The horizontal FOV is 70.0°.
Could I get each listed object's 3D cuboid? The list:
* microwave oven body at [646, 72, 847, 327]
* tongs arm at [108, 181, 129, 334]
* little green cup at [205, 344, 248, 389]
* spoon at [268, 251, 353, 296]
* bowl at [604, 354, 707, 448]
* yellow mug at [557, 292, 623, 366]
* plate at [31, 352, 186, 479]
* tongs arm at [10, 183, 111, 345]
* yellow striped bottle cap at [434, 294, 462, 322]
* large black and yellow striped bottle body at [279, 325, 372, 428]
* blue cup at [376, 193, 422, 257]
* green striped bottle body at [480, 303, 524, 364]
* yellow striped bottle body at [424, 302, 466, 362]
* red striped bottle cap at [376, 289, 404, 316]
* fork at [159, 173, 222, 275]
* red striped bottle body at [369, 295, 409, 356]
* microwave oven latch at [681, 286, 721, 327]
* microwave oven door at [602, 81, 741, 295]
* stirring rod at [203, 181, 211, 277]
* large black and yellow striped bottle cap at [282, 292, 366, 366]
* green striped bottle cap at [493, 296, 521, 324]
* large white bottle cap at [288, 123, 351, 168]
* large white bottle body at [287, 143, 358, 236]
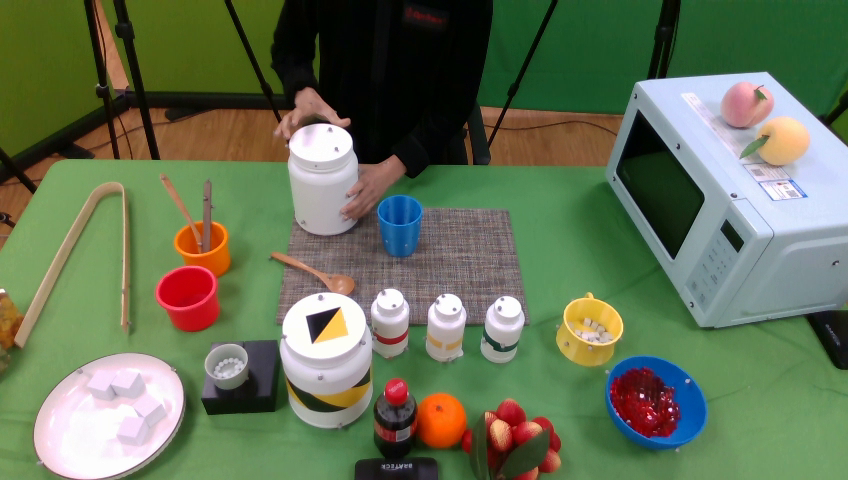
[{"bbox_3d":[0.607,-0.089,1.164,0.326,0.261,0.438,-7,46,-10],"label":"microwave oven body"},{"bbox_3d":[-0.571,0.019,1.123,0.051,0.026,0.382,-10,47,-12],"label":"tongs arm"},{"bbox_3d":[-0.293,0.191,0.909,0.061,0.039,0.061,1,47,-1],"label":"little green cup"},{"bbox_3d":[-0.212,0.057,1.121,0.193,0.022,0.041,24,74,18],"label":"spoon"},{"bbox_3d":[0.346,0.261,0.937,0.151,0.077,0.150,2,46,-2],"label":"bowl"},{"bbox_3d":[0.285,0.145,1.051,0.100,0.064,0.130,7,46,4],"label":"yellow mug"},{"bbox_3d":[-0.459,0.262,0.898,0.209,0.038,0.208,2,46,-2],"label":"plate"},{"bbox_3d":[-0.658,0.027,1.109,0.028,0.028,0.385,-2,45,1],"label":"tongs arm"},{"bbox_3d":[0.038,0.107,0.958,0.044,0.019,0.044,2,45,-2],"label":"yellow striped bottle cap"},{"bbox_3d":[-0.143,0.181,0.900,0.131,0.185,0.130,2,46,-2],"label":"large black and yellow striped bottle body"},{"bbox_3d":[-0.047,-0.022,1.155,0.093,0.101,0.092,1,47,-1],"label":"blue cup"},{"bbox_3d":[0.129,0.147,1.000,0.063,0.120,0.063,2,46,-2],"label":"green striped bottle body"},{"bbox_3d":[0.035,0.143,0.995,0.063,0.121,0.062,3,46,-3],"label":"yellow striped bottle body"},{"bbox_3d":[-0.054,0.098,0.958,0.044,0.018,0.044,0,48,1],"label":"red striped bottle cap"},{"bbox_3d":[-0.427,-0.029,1.103,0.028,0.018,0.207,-31,99,-30],"label":"fork"},{"bbox_3d":[-0.059,0.134,0.997,0.063,0.120,0.062,4,47,-5],"label":"red striped bottle body"},{"bbox_3d":[0.494,0.119,1.086,0.030,0.029,0.078,-5,46,-9],"label":"microwave oven latch"},{"bbox_3d":[0.456,-0.107,1.162,0.039,0.245,0.353,-7,47,-11],"label":"microwave oven door"},{"bbox_3d":[-0.396,-0.021,1.107,0.014,0.006,0.176,-1,89,-1],"label":"stirring rod"},{"bbox_3d":[-0.138,0.121,0.841,0.115,0.019,0.114,3,47,-3],"label":"large black and yellow striped bottle cap"},{"bbox_3d":[0.133,0.111,0.962,0.044,0.020,0.044,2,47,-2],"label":"green striped bottle cap"},{"bbox_3d":[-0.191,-0.173,1.110,0.115,0.018,0.114,2,47,-2],"label":"large white bottle cap"},{"bbox_3d":[-0.195,-0.113,1.173,0.131,0.185,0.130,3,47,-2],"label":"large white bottle body"}]
